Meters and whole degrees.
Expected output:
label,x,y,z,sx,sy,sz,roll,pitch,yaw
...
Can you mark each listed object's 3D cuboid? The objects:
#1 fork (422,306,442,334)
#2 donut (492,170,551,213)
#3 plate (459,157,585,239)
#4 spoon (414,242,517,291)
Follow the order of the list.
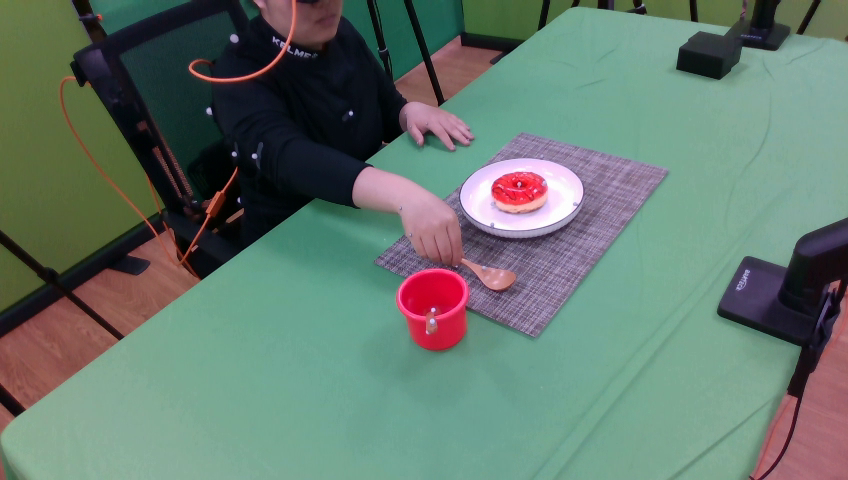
label,x,y,z,sx,sy,sz,roll,pitch,yaw
fork,0.010,0.099,0.766,0.028,0.018,0.207,-10,-3,1
donut,0.163,-0.083,1.016,0.099,0.048,0.098,-6,37,5
plate,0.163,-0.068,1.015,0.209,0.038,0.208,-5,40,5
spoon,0.058,0.034,0.925,0.192,0.022,0.042,25,58,33
